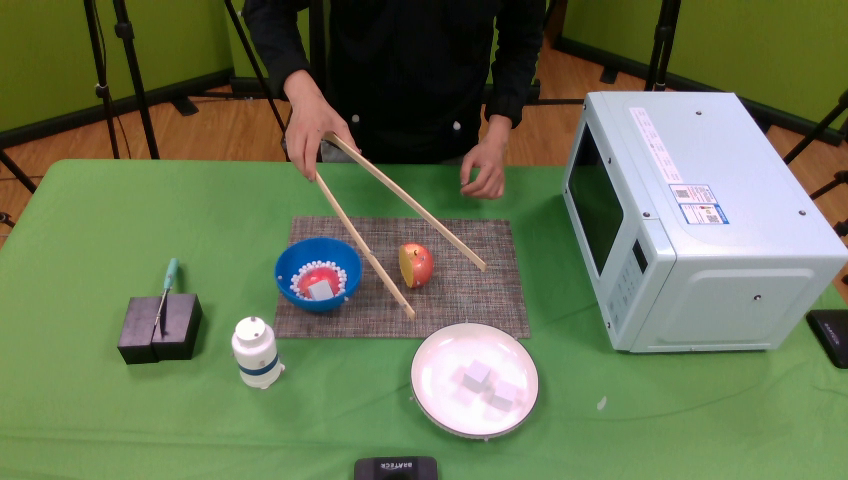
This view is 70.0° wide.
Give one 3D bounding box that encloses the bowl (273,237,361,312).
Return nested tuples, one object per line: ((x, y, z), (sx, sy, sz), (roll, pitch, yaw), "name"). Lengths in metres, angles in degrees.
((-0.186, 0.074, 1.070), (0.151, 0.077, 0.150), (3, 46, -3), "bowl")

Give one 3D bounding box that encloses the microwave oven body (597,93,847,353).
((0.475, -0.041, 1.109), (0.326, 0.261, 0.438), (-1, 45, -4), "microwave oven body")

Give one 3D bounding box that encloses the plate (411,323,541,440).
((0.082, 0.228, 0.976), (0.208, 0.039, 0.206), (2, 45, -2), "plate")

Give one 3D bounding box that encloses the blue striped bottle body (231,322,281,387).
((-0.262, 0.171, 0.944), (0.063, 0.121, 0.062), (2, 46, -2), "blue striped bottle body")

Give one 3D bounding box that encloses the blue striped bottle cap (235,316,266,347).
((-0.260, 0.137, 0.907), (0.044, 0.021, 0.044), (2, 43, -2), "blue striped bottle cap")

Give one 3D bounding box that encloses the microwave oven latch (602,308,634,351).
((0.332, 0.153, 1.044), (0.030, 0.029, 0.078), (-1, 45, -4), "microwave oven latch")

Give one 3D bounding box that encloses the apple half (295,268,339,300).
((-0.188, 0.072, 1.067), (0.081, 0.033, 0.081), (4, 46, -4), "apple half")

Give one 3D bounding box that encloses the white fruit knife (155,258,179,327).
((-0.440, 0.085, 1.037), (0.016, 0.027, 0.206), (10, 26, -19), "white fruit knife")

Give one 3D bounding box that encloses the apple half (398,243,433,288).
((-0.012, 0.046, 1.115), (0.053, 0.075, 0.080), (-11, 44, -19), "apple half")

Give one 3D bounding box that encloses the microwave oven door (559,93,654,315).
((0.327, -0.074, 1.123), (0.039, 0.245, 0.353), (-1, 46, -5), "microwave oven door")

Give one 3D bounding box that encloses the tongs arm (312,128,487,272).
((-0.046, -0.072, 0.971), (0.386, 0.028, 0.028), (40, 70, 22), "tongs arm")

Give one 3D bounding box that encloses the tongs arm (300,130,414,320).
((-0.104, -0.036, 0.946), (0.051, 0.026, 0.382), (-30, 62, -17), "tongs arm")
